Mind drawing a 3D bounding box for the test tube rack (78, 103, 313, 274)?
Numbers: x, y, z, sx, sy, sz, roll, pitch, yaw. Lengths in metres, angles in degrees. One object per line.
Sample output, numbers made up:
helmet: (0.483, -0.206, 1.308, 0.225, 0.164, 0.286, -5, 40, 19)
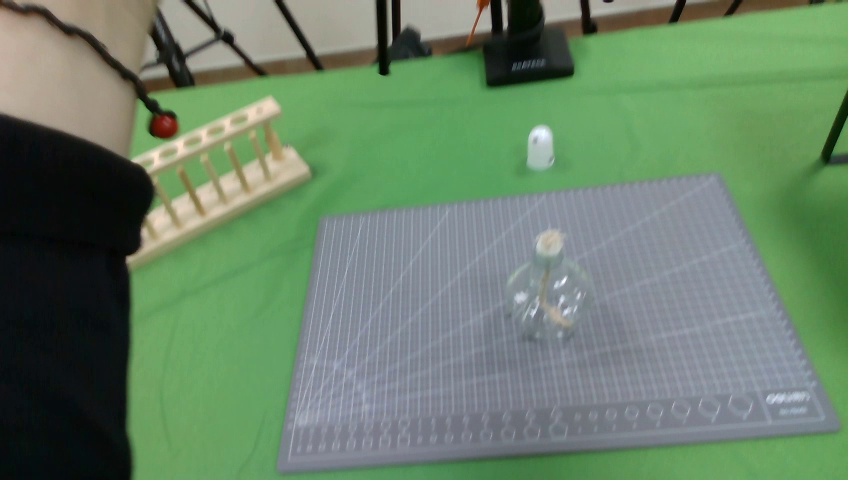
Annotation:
test tube rack: (-0.263, -0.064, 0.721, 0.242, 0.086, 0.066, -30, 49, -16)

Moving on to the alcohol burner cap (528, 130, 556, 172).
alcohol burner cap: (0.138, -0.107, 0.710, 0.034, 0.048, 0.033, -6, 47, 7)

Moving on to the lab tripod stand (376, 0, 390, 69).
lab tripod stand: (0.020, -0.169, 0.278, 0.148, 0.133, 0.147, -4, 59, 6)

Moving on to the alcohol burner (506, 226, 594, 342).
alcohol burner: (0.110, 0.034, 0.529, 0.078, 0.120, 0.077, -6, 44, 7)
